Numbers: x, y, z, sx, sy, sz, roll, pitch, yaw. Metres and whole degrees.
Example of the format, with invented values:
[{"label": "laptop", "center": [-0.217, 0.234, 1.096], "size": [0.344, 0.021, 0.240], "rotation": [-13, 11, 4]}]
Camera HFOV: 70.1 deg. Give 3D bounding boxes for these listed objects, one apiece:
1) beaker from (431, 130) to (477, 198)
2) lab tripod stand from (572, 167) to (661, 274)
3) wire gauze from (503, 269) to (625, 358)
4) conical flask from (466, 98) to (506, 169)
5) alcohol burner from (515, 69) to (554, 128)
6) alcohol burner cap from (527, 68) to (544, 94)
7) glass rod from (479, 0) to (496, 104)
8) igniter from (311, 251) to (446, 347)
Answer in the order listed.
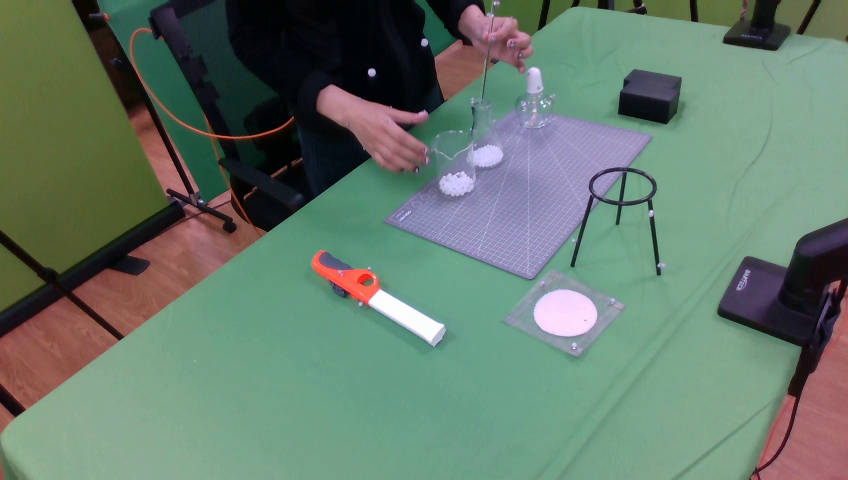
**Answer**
[{"label": "beaker", "center": [0.055, -0.130, 1.063], "size": [0.074, 0.101, 0.083], "rotation": [-4, 41, 8]}, {"label": "lab tripod stand", "center": [0.283, -0.030, 0.879], "size": [0.148, 0.132, 0.147], "rotation": [-7, 38, 6]}, {"label": "wire gauze", "center": [0.194, 0.100, 0.840], "size": [0.120, 0.011, 0.125], "rotation": [27, 54, 36]}, {"label": "conical flask", "center": [0.111, -0.199, 1.116], "size": [0.075, 0.122, 0.075], "rotation": [-5, 40, 5]}, {"label": "alcohol burner", "center": [0.221, -0.285, 1.203], "size": [0.078, 0.119, 0.077], "rotation": [-4, 39, 4]}, {"label": "alcohol burner cap", "center": [0.216, -0.312, 1.179], "size": [0.034, 0.048, 0.033], "rotation": [-9, 40, 8]}, {"label": "glass rod", "center": [0.108, -0.324, 1.022], "size": [0.008, 0.200, 0.008], "rotation": [3, 37, -2]}, {"label": "igniter", "center": [-0.078, 0.081, 0.899], "size": [0.274, 0.025, 0.057], "rotation": [27, 62, 35]}]
